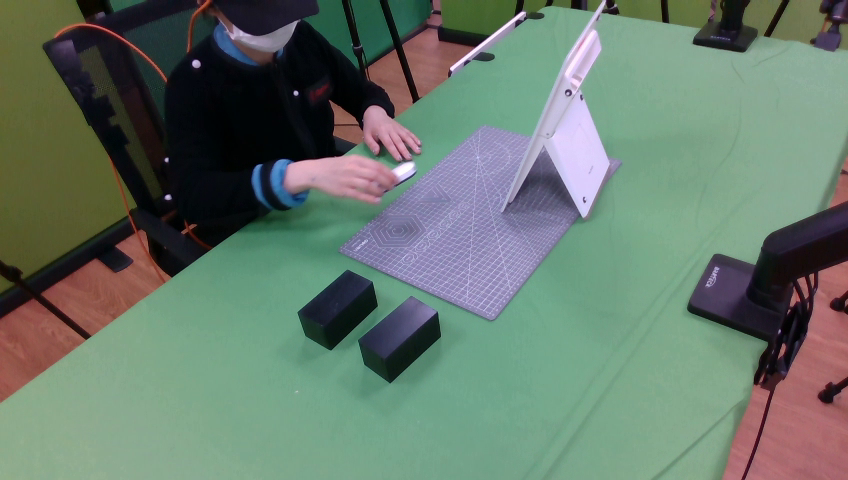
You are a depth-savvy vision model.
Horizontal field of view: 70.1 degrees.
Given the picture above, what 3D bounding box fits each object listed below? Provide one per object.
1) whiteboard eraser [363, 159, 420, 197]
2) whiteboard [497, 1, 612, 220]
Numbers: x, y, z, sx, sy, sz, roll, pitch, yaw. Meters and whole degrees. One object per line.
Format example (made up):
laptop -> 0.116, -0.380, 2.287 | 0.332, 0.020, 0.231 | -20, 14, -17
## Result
whiteboard eraser -> -0.054, -0.102, 0.992 | 0.101, 0.019, 0.041 | -31, 27, -13
whiteboard -> 0.260, -0.178, 0.963 | 0.143, 0.306, 0.217 | 28, 49, 9
